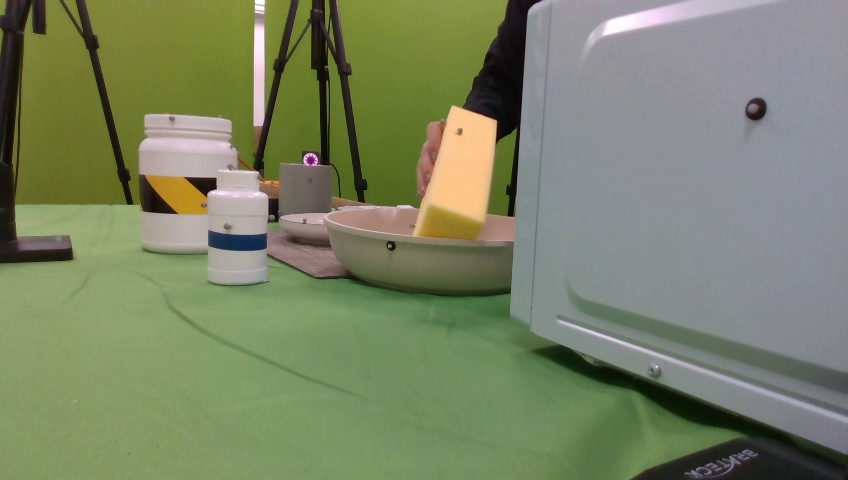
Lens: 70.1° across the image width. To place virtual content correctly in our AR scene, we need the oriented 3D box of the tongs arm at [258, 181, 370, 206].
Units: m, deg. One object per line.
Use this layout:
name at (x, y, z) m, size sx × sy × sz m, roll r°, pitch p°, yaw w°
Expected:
tongs arm at (-0.241, -0.095, 1.373) m, size 0.387 × 0.026 × 0.050 m, roll 9°, pitch 0°, yaw -37°

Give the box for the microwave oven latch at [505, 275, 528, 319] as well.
microwave oven latch at (0.100, 0.042, 0.471) m, size 0.079 × 0.029 × 0.030 m, roll -1°, pitch 7°, yaw -28°

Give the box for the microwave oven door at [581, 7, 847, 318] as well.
microwave oven door at (0.295, -0.067, 0.570) m, size 0.358 × 0.243 × 0.039 m, roll -3°, pitch 8°, yaw -31°

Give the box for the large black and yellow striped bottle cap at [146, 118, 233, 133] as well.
large black and yellow striped bottle cap at (-0.333, -0.163, 0.861) m, size 0.115 × 0.019 × 0.115 m, roll 1°, pitch 9°, yaw 0°

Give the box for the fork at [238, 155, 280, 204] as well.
fork at (-0.396, -0.143, 1.486) m, size 0.028 × 0.018 × 0.208 m, roll 20°, pitch -26°, yaw 45°

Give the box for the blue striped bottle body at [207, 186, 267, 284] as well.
blue striped bottle body at (-0.204, -0.016, 0.663) m, size 0.063 × 0.120 × 0.063 m, roll 2°, pitch 7°, yaw 0°

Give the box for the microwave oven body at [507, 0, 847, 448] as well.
microwave oven body at (0.331, -0.042, 0.425) m, size 0.444 × 0.260 × 0.324 m, roll -2°, pitch 8°, yaw -31°

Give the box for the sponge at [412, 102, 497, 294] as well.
sponge at (0.031, -0.054, 0.698) m, size 0.061 × 0.118 × 0.206 m, roll 17°, pitch 41°, yaw -4°

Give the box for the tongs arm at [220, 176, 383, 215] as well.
tongs arm at (-0.285, -0.103, 1.445) m, size 0.389 × 0.027 × 0.028 m, roll 9°, pitch -4°, yaw -23°

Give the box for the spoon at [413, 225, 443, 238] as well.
spoon at (0.016, -0.020, 1.113) m, size 0.041 × 0.021 × 0.194 m, roll -14°, pitch 3°, yaw 12°

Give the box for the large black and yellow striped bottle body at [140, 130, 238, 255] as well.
large black and yellow striped bottle body at (-0.336, -0.078, 0.871) m, size 0.131 × 0.184 × 0.130 m, roll 2°, pitch 8°, yaw 0°

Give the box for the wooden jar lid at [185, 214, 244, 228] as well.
wooden jar lid at (-0.404, -0.037, 1.169) m, size 0.108 × 0.020 × 0.108 m, roll 3°, pitch 7°, yaw 0°

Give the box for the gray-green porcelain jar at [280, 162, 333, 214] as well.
gray-green porcelain jar at (-0.238, -0.092, 1.221) m, size 0.106 × 0.126 × 0.106 m, roll 2°, pitch 7°, yaw 0°

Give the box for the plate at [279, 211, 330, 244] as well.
plate at (-0.139, -0.022, 1.021) m, size 0.209 × 0.038 × 0.209 m, roll 2°, pitch 8°, yaw 0°

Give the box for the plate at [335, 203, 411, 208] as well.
plate at (-0.089, -0.053, 1.309) m, size 0.208 × 0.039 × 0.207 m, roll 2°, pitch 8°, yaw 0°

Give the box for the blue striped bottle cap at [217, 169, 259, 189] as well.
blue striped bottle cap at (-0.202, -0.067, 0.657) m, size 0.044 × 0.020 × 0.044 m, roll 0°, pitch 10°, yaw 0°

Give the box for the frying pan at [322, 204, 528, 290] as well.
frying pan at (0.109, -0.018, 0.800) m, size 0.490 × 0.102 × 0.305 m, roll -12°, pitch 16°, yaw -30°
